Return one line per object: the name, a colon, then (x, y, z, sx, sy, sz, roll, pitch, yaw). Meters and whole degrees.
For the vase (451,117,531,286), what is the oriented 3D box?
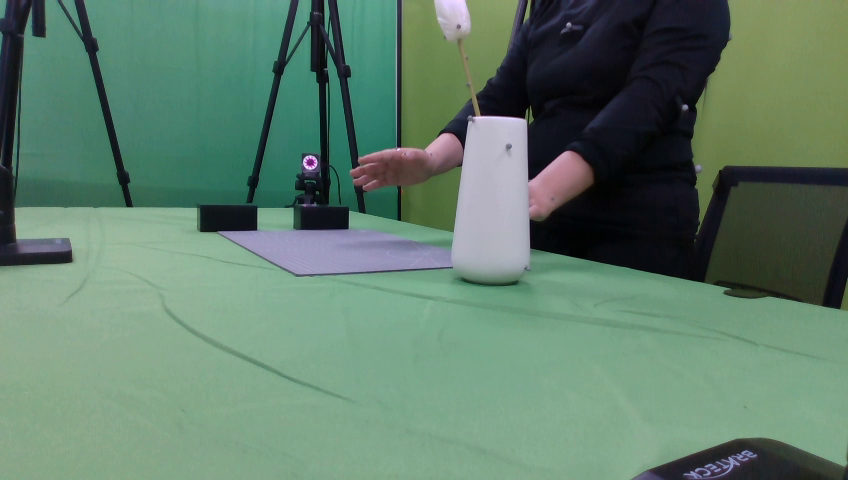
vase: (0.084, -0.047, 0.737, 0.098, 0.200, 0.098, 1, 6, 0)

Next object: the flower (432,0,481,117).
flower: (0.071, -0.129, 0.736, 0.038, 0.361, 0.044, -16, -2, 40)
